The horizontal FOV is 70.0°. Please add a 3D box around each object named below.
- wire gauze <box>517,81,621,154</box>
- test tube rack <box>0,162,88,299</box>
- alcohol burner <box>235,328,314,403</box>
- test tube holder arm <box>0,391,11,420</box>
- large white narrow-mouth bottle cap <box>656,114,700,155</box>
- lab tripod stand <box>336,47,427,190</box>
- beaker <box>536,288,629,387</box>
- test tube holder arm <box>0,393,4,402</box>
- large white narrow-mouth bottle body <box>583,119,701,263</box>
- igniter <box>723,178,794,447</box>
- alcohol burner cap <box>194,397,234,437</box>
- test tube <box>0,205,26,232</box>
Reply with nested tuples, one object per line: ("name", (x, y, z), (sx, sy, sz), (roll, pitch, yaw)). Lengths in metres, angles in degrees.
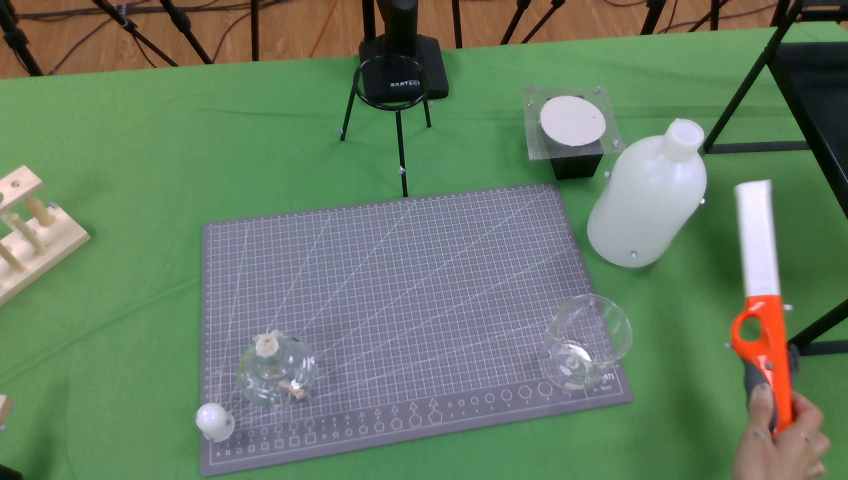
("wire gauze", (0.185, -0.162, 0.787), (0.121, 0.011, 0.124), (-1, 59, -4))
("test tube rack", (-0.499, 0.031, 0.643), (0.066, 0.086, 0.242), (36, 64, 17))
("alcohol burner", (-0.148, 0.116, 0.595), (0.078, 0.120, 0.077), (3, 58, -4))
("test tube holder arm", (-0.404, 0.218, 0.523), (0.013, 0.015, 0.177), (2, 59, 6))
("large white narrow-mouth bottle cap", (0.253, -0.106, 0.606), (0.038, 0.024, 0.037), (1, 59, -2))
("lab tripod stand", (-0.043, -0.156, 0.754), (0.148, 0.132, 0.147), (2, 60, -4))
("beaker", (0.157, 0.106, 0.628), (0.084, 0.101, 0.073), (-2, 59, -3))
("test tube holder arm", (-0.406, 0.180, 0.546), (0.010, 0.015, 0.087), (2, 59, 5))
("large white narrow-mouth bottle body", (0.249, -0.060, 0.679), (0.102, 0.196, 0.101), (1, 59, -2))
("igniter", (0.328, 0.063, 0.603), (0.057, 0.025, 0.274), (-7, 64, 28))
("alcohol burner cap", (-0.209, 0.173, 0.599), (0.034, 0.048, 0.033), (1, 59, -2))
("test tube", (-0.467, -0.050, 0.635), (0.017, 0.151, 0.017), (0, 61, 1))
